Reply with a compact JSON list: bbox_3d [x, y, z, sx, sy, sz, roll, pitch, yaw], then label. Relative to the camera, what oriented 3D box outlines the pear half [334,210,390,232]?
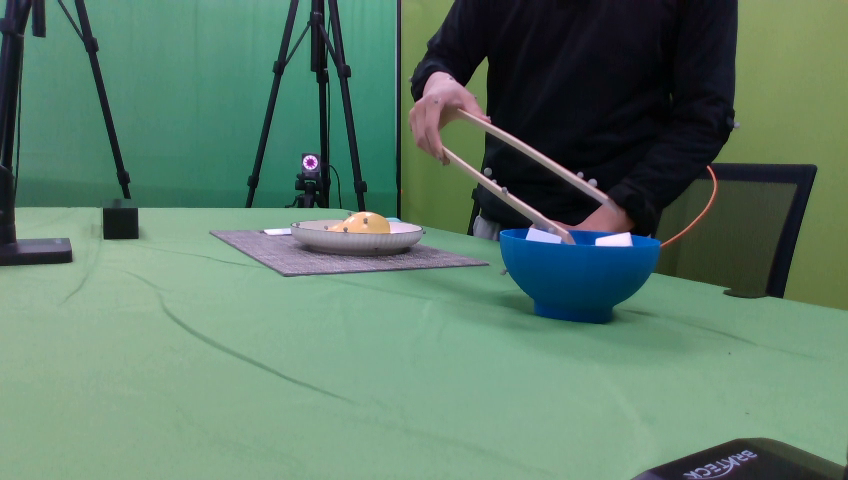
[{"bbox_3d":[-0.107,-0.016,0.919,0.110,0.056,0.076,-4,4,-20],"label":"pear half"}]

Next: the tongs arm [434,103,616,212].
[{"bbox_3d":[0.104,-0.112,0.734,0.028,0.028,0.385,40,4,-34],"label":"tongs arm"}]

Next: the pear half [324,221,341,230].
[{"bbox_3d":[-0.126,-0.019,1.001,0.088,0.031,0.070,8,3,1],"label":"pear half"}]

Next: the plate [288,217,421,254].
[{"bbox_3d":[-0.109,-0.008,0.956,0.208,0.039,0.207,2,7,0],"label":"plate"}]

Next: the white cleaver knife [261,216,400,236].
[{"bbox_3d":[-0.169,-0.021,1.156,0.288,0.021,0.065,-7,20,-33],"label":"white cleaver knife"}]

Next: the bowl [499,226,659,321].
[{"bbox_3d":[0.145,0.032,0.585,0.151,0.077,0.151,2,7,0],"label":"bowl"}]

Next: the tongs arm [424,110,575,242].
[{"bbox_3d":[0.080,-0.091,0.735,0.026,0.051,0.383,45,0,-34],"label":"tongs arm"}]
